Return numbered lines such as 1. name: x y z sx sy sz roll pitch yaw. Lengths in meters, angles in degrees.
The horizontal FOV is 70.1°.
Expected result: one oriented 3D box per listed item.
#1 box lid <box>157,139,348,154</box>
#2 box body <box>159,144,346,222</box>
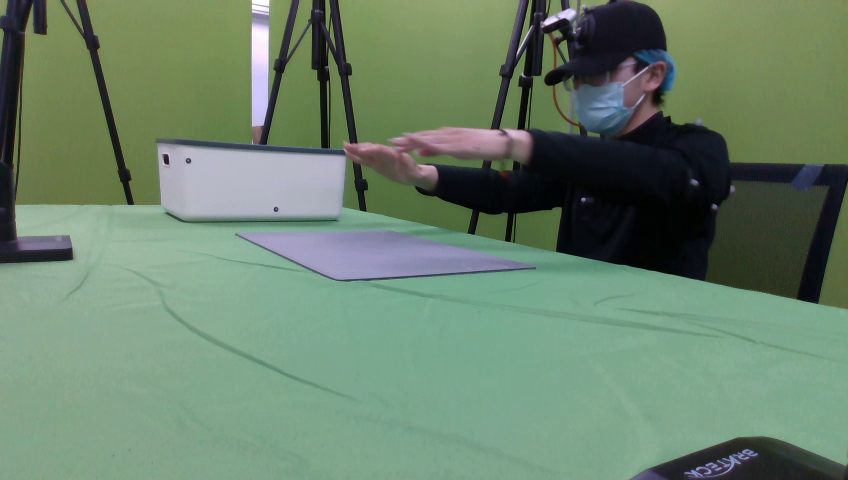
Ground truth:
1. box lid: -0.379 -0.206 1.350 0.373 0.015 0.262 -2 9 -33
2. box body: -0.385 -0.133 1.359 0.366 0.160 0.253 -2 9 -33
